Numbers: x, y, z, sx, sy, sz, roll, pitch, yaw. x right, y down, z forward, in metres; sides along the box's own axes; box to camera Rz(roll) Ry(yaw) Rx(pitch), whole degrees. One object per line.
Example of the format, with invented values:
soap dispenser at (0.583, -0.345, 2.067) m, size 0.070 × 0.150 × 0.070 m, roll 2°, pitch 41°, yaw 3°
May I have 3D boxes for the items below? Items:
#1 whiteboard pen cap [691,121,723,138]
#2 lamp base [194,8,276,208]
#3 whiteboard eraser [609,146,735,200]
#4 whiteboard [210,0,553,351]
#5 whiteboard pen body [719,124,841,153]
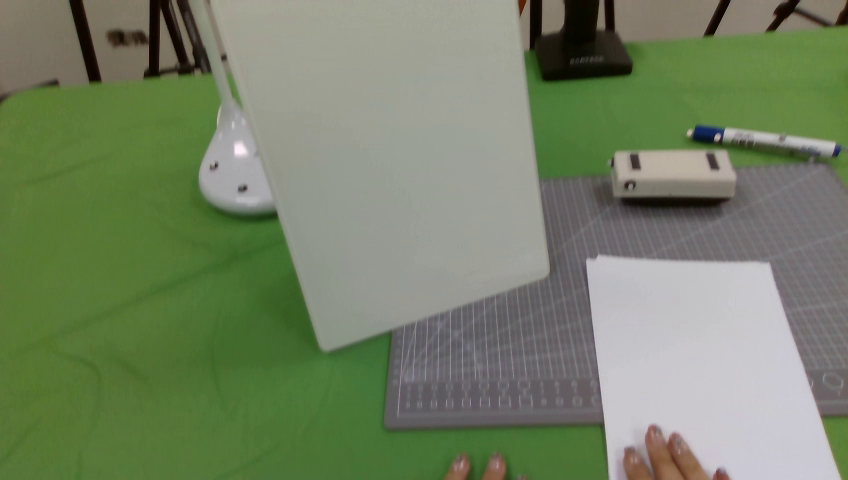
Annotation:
whiteboard pen cap at (0.321, -0.124, 0.686) m, size 0.033 × 0.018 × 0.018 m, roll 13°, pitch 46°, yaw 25°
lamp base at (-0.197, -0.151, 0.661) m, size 0.177 × 0.182 × 0.160 m, roll 28°, pitch 52°, yaw 35°
whiteboard eraser at (0.247, -0.067, 0.611) m, size 0.112 × 0.042 × 0.055 m, roll 1°, pitch 44°, yaw 9°
whiteboard at (-0.032, -0.097, 0.530) m, size 0.217 × 0.307 × 0.142 m, roll -17°, pitch 24°, yaw -10°
whiteboard pen body at (0.374, -0.113, 0.663) m, size 0.140 × 0.017 × 0.017 m, roll 14°, pitch 46°, yaw 24°
